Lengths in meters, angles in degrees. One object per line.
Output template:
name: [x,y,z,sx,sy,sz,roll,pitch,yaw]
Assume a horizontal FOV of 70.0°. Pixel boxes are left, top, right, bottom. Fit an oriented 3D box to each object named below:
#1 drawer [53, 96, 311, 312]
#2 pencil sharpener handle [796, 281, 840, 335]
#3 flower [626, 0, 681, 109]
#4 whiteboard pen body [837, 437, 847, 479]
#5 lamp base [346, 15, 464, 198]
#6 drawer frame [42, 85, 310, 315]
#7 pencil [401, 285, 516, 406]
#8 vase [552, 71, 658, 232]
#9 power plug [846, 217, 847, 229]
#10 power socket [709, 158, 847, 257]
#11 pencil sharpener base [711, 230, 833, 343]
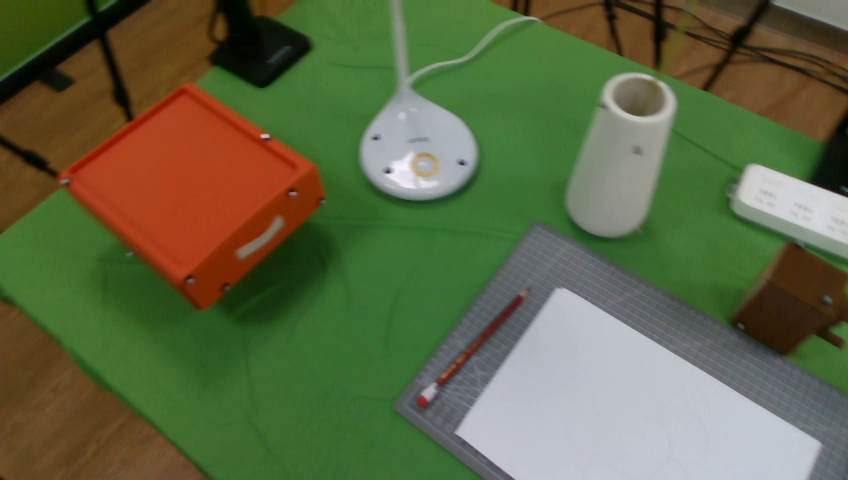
drawer: [-0.275,-0.052,0.701,0.210,0.074,0.194,33,65,20]
pencil sharpener handle: [0.411,0.073,0.622,0.030,0.068,0.036,32,63,20]
flower: [0.217,-0.149,0.631,0.038,0.364,0.044,19,42,6]
whiteboard pen body: [0.399,0.254,0.569,0.017,0.017,0.140,15,59,12]
lamp base: [-0.033,-0.173,0.763,0.161,0.182,0.177,-18,56,-10]
drawer frame: [-0.280,-0.053,0.704,0.212,0.083,0.201,33,65,18]
pencil: [0.043,0.113,0.678,0.012,0.012,0.194,37,64,23]
vase: [0.205,-0.095,0.695,0.098,0.202,0.097,-1,56,3]
power plug: [0.501,-0.007,0.700,0.035,0.053,0.072,34,66,22]
power socket: [0.472,-0.036,0.747,0.225,0.033,0.072,25,62,16]
pencil sharpener base: [0.371,0.054,0.649,0.076,0.108,0.061,32,64,20]
